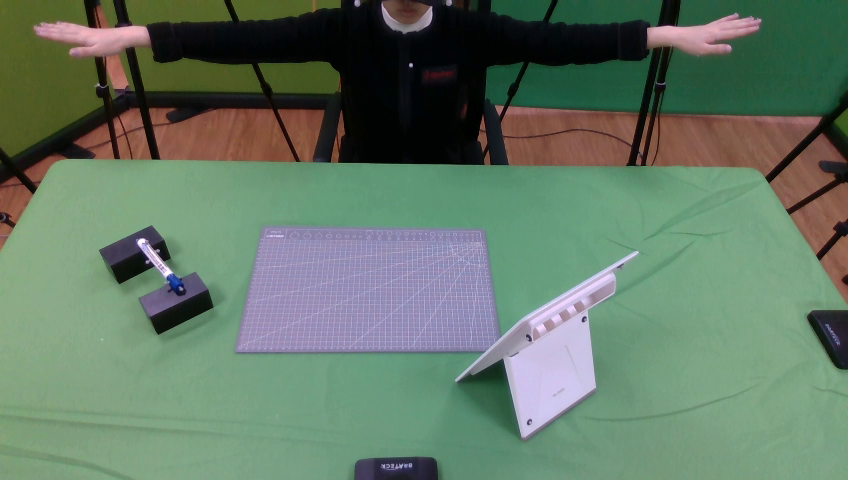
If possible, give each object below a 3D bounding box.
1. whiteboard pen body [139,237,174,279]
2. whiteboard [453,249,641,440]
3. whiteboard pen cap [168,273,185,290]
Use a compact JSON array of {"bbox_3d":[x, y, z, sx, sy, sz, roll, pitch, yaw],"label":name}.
[{"bbox_3d":[-0.462,0.038,1.059,0.017,0.017,0.140,-32,56,-29],"label":"whiteboard pen body"},{"bbox_3d":[0.206,0.174,0.890,0.217,0.306,0.143,-24,72,-25],"label":"whiteboard"},{"bbox_3d":[-0.422,0.070,1.032,0.018,0.018,0.033,-34,54,-30],"label":"whiteboard pen cap"}]
